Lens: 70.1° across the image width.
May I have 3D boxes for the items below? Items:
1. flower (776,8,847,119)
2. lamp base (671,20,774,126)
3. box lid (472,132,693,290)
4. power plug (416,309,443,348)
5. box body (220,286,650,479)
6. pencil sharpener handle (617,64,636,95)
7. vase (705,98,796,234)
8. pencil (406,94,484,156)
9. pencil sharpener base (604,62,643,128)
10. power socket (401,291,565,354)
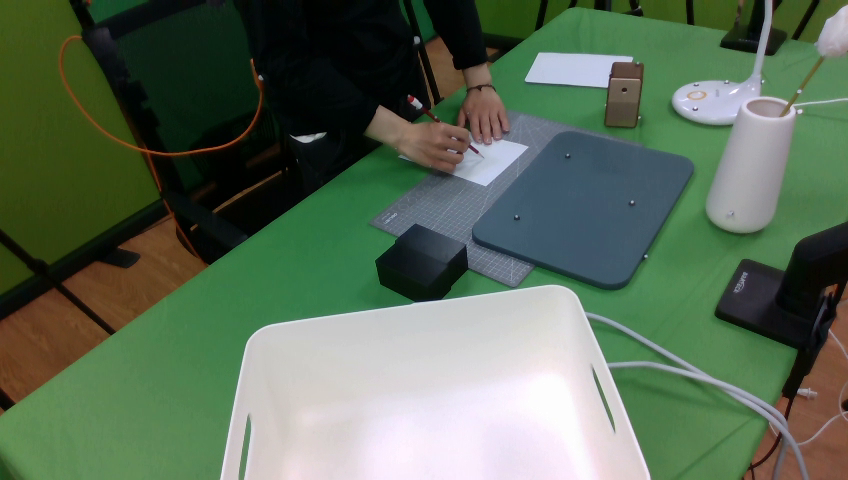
[{"bbox_3d":[0.476,-0.156,0.822,0.038,0.362,0.044,8,58,2],"label":"flower"},{"bbox_3d":[0.581,-0.332,1.154,0.179,0.181,0.160,2,42,7],"label":"lamp base"},{"bbox_3d":[0.273,-0.068,1.020,0.261,0.015,0.372,20,47,28],"label":"box lid"},{"bbox_3d":[0.004,0.121,0.787,0.035,0.053,0.072,2,46,8],"label":"power plug"},{"bbox_3d":[0.006,0.210,0.618,0.364,0.161,0.252,-8,40,-1],"label":"box body"},{"bbox_3d":[0.401,-0.326,1.211,0.036,0.068,0.030,16,44,8],"label":"pencil sharpener handle"},{"bbox_3d":[0.480,-0.104,0.889,0.098,0.201,0.097,-4,42,4],"label":"vase"},{"bbox_3d":[0.043,-0.205,1.102,0.012,0.195,0.012,-37,36,32],"label":"pencil"},{"bbox_3d":[0.390,-0.284,1.182,0.061,0.107,0.076,7,42,17],"label":"pencil sharpener base"},{"bbox_3d":[0.079,0.111,0.823,0.227,0.033,0.072,-5,41,1],"label":"power socket"}]
